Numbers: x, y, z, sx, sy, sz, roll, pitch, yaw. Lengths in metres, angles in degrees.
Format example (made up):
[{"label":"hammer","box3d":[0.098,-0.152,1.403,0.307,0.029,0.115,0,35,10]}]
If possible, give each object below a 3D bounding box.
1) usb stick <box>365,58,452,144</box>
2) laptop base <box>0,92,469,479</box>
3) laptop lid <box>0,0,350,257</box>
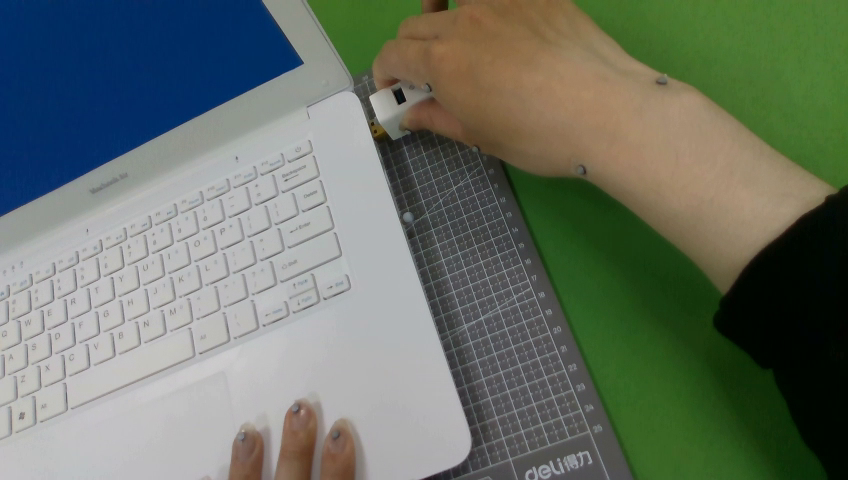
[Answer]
[{"label":"usb stick","box3d":[-0.015,-0.078,0.358,0.059,0.027,0.021,-33,61,15]},{"label":"laptop base","box3d":[-0.167,0.074,0.368,0.354,0.023,0.233,-23,68,9]},{"label":"laptop lid","box3d":[-0.247,-0.096,0.331,0.356,0.244,0.013,-24,47,10]}]
